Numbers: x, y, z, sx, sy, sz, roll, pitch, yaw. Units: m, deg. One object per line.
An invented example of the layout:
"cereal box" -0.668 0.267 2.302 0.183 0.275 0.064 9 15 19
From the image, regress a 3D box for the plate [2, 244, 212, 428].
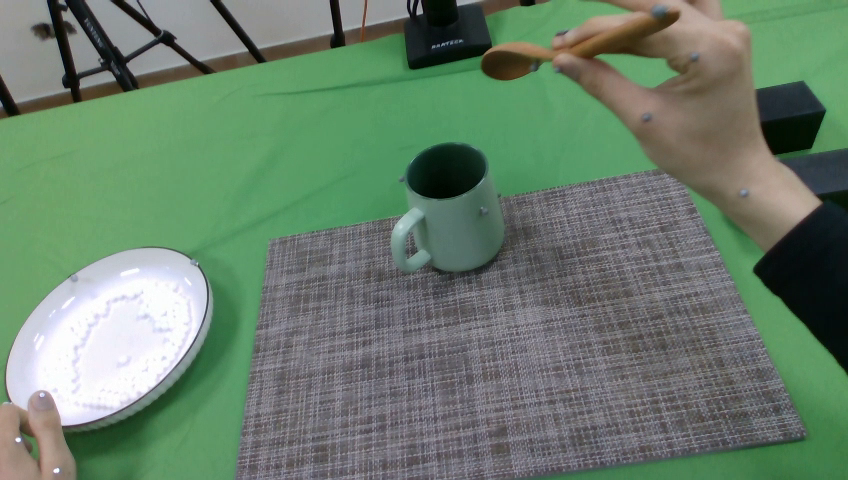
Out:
"plate" -0.310 0.094 0.610 0.209 0.038 0.207 -7 49 8

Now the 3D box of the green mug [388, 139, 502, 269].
"green mug" 0.015 -0.022 0.582 0.091 0.106 0.125 32 64 33

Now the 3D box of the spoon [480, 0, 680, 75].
"spoon" 0.088 -0.122 0.379 0.042 0.021 0.192 14 5 -22
